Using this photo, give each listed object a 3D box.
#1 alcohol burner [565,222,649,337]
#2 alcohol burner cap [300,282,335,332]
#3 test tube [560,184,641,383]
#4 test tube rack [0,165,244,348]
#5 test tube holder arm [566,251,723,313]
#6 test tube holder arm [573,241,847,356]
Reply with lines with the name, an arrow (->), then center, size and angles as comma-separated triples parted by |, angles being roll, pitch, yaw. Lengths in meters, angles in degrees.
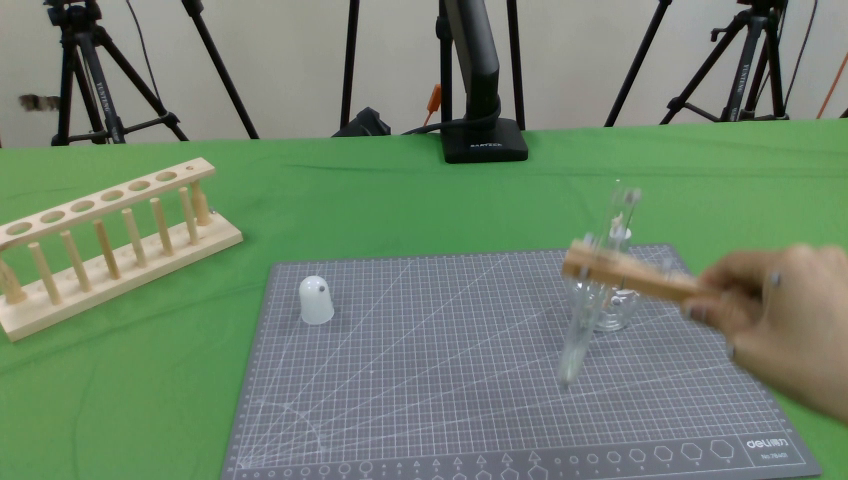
alcohol burner -> 0.173, 0.032, 0.562 | 0.078, 0.120, 0.077 | 0, 37, 0
alcohol burner cap -> -0.104, 0.062, 0.586 | 0.034, 0.048, 0.033 | 0, 36, 0
test tube -> 0.107, 0.034, 0.380 | 0.017, 0.151, 0.017 | 5, 33, -3
test tube rack -> -0.321, 0.008, 0.633 | 0.242, 0.086, 0.066 | -28, 43, -33
test tube holder arm -> 0.128, 0.025, 0.358 | 0.087, 0.015, 0.010 | 14, 37, 16
test tube holder arm -> 0.171, 0.035, 0.346 | 0.177, 0.015, 0.013 | 19, 40, 22
